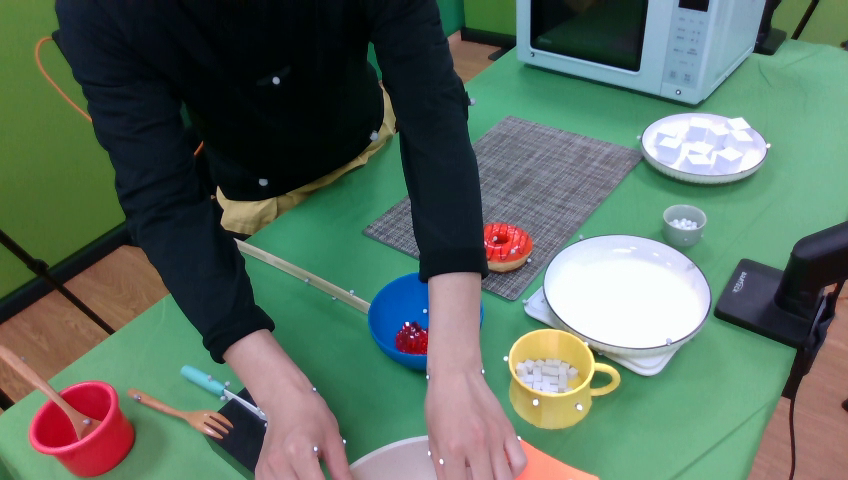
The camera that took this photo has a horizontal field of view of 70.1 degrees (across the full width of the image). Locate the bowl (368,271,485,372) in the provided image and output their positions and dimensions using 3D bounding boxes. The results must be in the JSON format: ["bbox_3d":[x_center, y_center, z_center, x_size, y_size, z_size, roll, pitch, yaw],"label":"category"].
[{"bbox_3d":[0.007,0.119,0.791,0.151,0.077,0.150,-4,40,4],"label":"bowl"}]

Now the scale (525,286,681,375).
[{"bbox_3d":[0.254,0.091,0.821,0.199,0.032,0.149,27,51,35],"label":"scale"}]

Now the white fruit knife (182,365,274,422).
[{"bbox_3d":[-0.245,0.188,0.747,0.205,0.027,0.016,9,41,41],"label":"white fruit knife"}]

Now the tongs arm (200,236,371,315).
[{"bbox_3d":[-0.209,0.062,0.924,0.381,0.026,0.051,23,51,33],"label":"tongs arm"}]

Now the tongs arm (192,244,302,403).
[{"bbox_3d":[-0.269,0.109,0.881,0.028,0.028,0.384,-35,45,-19],"label":"tongs arm"}]

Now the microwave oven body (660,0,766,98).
[{"bbox_3d":[0.472,-0.513,1.317,0.438,0.261,0.327,26,51,34],"label":"microwave oven body"}]

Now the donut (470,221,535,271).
[{"bbox_3d":[0.119,0.009,0.923,0.099,0.048,0.098,-3,39,3],"label":"donut"}]

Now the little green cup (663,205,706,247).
[{"bbox_3d":[0.396,-0.020,0.926,0.061,0.039,0.061,-4,40,4],"label":"little green cup"}]

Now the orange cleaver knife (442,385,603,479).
[{"bbox_3d":[0.085,0.219,0.612,0.209,0.012,0.077,28,49,35],"label":"orange cleaver knife"}]

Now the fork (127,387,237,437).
[{"bbox_3d":[-0.305,0.207,0.744,0.206,0.019,0.028,3,39,35],"label":"fork"}]

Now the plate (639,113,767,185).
[{"bbox_3d":[0.489,-0.157,1.073,0.207,0.039,0.206,-4,40,4],"label":"plate"}]

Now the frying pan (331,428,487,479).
[{"bbox_3d":[-0.089,0.306,0.564,0.487,0.103,0.306,10,41,7],"label":"frying pan"}]

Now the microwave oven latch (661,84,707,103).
[{"bbox_3d":[0.517,-0.296,1.204,0.078,0.029,0.030,27,52,35],"label":"microwave oven latch"}]

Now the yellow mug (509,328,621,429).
[{"bbox_3d":[0.168,0.164,0.721,0.130,0.064,0.099,0,40,8],"label":"yellow mug"}]

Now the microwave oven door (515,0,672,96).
[{"bbox_3d":[0.343,-0.454,1.259,0.353,0.245,0.039,26,51,33],"label":"microwave oven door"}]

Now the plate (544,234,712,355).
[{"bbox_3d":[0.262,0.072,0.792,0.209,0.038,0.208,-4,41,4],"label":"plate"}]

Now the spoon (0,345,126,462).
[{"bbox_3d":[-0.434,0.192,0.720,0.194,0.021,0.042,47,54,-7],"label":"spoon"}]
